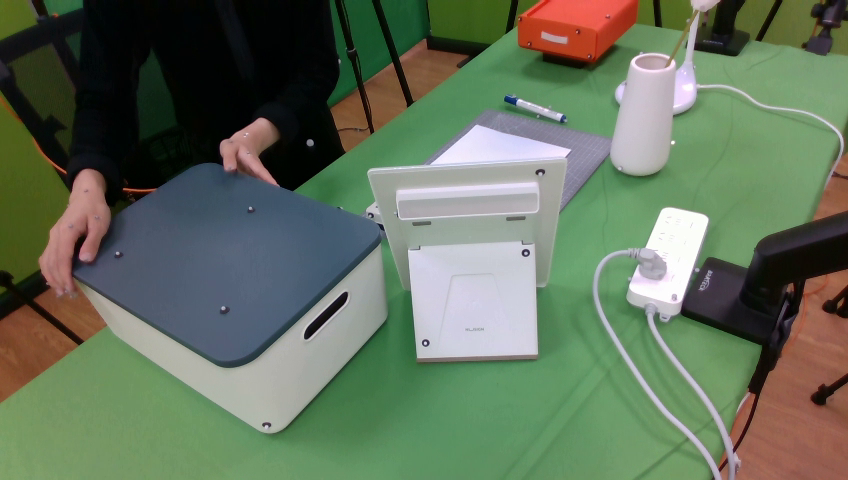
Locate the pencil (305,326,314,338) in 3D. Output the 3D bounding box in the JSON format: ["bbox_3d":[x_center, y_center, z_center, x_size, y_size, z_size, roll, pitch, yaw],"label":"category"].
[{"bbox_3d":[-0.187,0.105,0.879,0.012,0.012,0.192,-27,42,-22],"label":"pencil"}]

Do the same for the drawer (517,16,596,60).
[{"bbox_3d":[0.353,-0.506,1.405,0.193,0.073,0.212,23,49,32],"label":"drawer"}]

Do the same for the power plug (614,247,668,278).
[{"bbox_3d":[0.306,0.031,0.851,0.072,0.053,0.035,24,49,33],"label":"power plug"}]

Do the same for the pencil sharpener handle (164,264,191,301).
[{"bbox_3d":[-0.354,0.055,0.866,0.036,0.068,0.030,-16,39,-29],"label":"pencil sharpener handle"}]

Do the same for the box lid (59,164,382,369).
[{"bbox_3d":[-0.263,0.010,0.777,0.368,0.015,0.264,20,47,29],"label":"box lid"}]

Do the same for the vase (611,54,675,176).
[{"bbox_3d":[0.377,-0.209,1.031,0.098,0.201,0.097,-3,40,3],"label":"vase"}]

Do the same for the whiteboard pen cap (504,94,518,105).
[{"bbox_3d":[0.190,-0.299,1.292,0.033,0.018,0.018,30,52,28],"label":"whiteboard pen cap"}]

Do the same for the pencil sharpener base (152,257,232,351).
[{"bbox_3d":[-0.323,0.088,0.842,0.061,0.107,0.076,-27,44,-20],"label":"pencil sharpener base"}]

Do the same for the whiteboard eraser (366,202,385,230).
[{"bbox_3d":[-0.037,-0.038,1.006,0.112,0.042,0.055,16,48,25],"label":"whiteboard eraser"}]

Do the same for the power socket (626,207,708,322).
[{"bbox_3d":[0.359,0.025,0.886,0.072,0.033,0.227,16,46,26],"label":"power socket"}]

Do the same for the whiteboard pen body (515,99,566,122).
[{"bbox_3d":[0.233,-0.274,1.262,0.139,0.017,0.017,28,51,29],"label":"whiteboard pen body"}]

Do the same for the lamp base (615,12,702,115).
[{"bbox_3d":[0.484,-0.364,1.211,0.180,0.181,0.159,-15,41,-14],"label":"lamp base"}]

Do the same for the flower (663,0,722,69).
[{"bbox_3d":[0.379,-0.261,0.965,0.044,0.362,0.038,21,53,5],"label":"flower"}]

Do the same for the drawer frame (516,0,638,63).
[{"bbox_3d":[0.355,-0.508,1.411,0.200,0.083,0.214,23,51,32],"label":"drawer frame"}]

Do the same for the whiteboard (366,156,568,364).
[{"bbox_3d":[0.059,0.050,0.738,0.217,0.307,0.143,-2,60,6],"label":"whiteboard"}]

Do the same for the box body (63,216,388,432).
[{"bbox_3d":[-0.256,0.065,0.827,0.361,0.161,0.255,20,48,29],"label":"box body"}]
